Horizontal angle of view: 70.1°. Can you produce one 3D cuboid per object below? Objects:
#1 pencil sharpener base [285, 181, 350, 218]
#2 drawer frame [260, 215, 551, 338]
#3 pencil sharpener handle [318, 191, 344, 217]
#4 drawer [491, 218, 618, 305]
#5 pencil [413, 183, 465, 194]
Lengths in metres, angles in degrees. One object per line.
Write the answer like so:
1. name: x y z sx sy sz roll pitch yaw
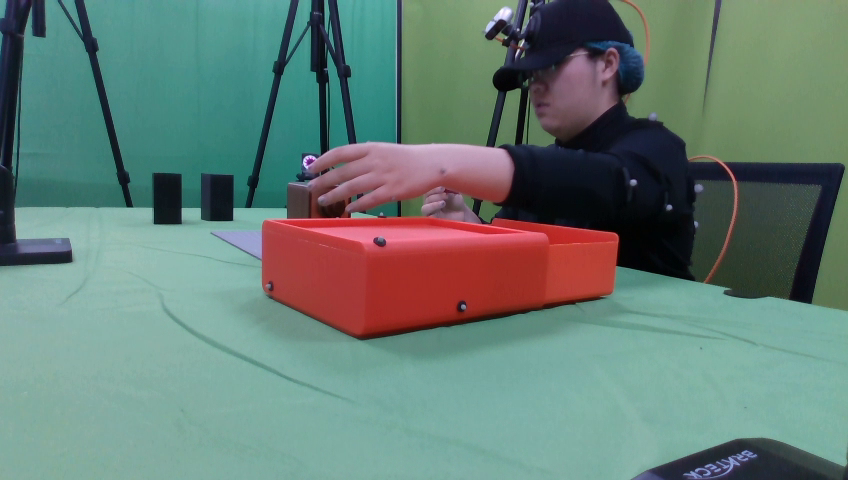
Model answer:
1. pencil sharpener base: -0.139 -0.021 0.789 0.062 0.107 0.076 -2 9 -36
2. drawer frame: -0.021 0.023 0.595 0.215 0.082 0.200 -4 10 -38
3. pencil sharpener handle: -0.108 -0.026 0.747 0.036 0.067 0.030 -6 11 -36
4. drawer: 0.071 0.021 0.670 0.213 0.073 0.193 -4 10 -39
5. pencil: 0.026 -0.096 1.137 0.012 0.012 0.193 -1 9 -28
